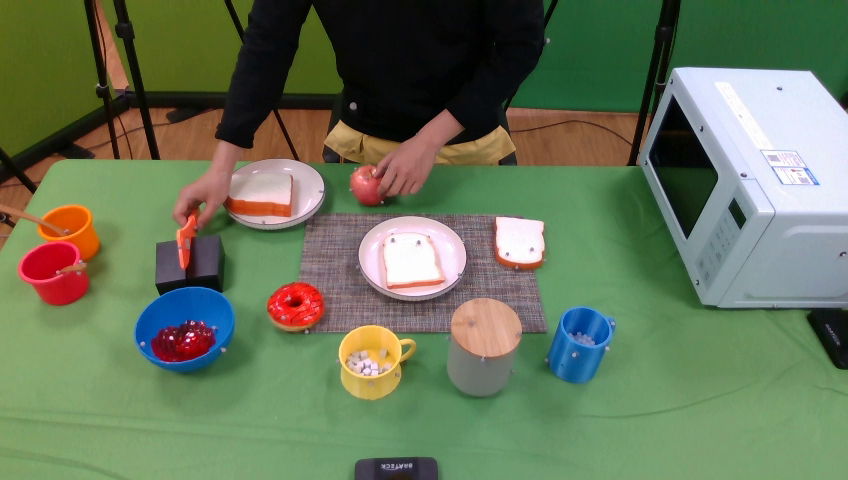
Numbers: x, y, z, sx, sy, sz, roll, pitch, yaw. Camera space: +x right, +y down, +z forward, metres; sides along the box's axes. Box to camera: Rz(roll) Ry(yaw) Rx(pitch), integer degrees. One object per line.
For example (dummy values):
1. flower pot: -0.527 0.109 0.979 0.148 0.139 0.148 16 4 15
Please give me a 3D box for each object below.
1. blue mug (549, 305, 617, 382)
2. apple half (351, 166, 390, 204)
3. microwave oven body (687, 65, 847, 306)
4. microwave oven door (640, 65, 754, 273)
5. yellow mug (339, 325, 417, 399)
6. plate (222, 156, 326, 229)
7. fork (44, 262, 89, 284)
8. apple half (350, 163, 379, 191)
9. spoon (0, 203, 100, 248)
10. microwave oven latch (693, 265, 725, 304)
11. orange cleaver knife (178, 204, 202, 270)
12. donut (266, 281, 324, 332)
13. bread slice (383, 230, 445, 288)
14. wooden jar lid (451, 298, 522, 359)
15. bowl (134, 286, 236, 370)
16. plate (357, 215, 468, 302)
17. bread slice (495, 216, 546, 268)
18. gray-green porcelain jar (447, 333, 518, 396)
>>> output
1. blue mug: 0.269 0.165 0.998 0.116 0.106 0.082 -19 51 -21
2. apple half: -0.104 -0.108 1.254 0.081 0.075 0.053 -20 57 -31
3. microwave oven body: 0.669 -0.111 1.176 0.326 0.261 0.439 0 46 -3
4. microwave oven door: 0.522 -0.147 1.193 0.039 0.245 0.353 0 47 -3
5. yellow mug: -0.072 0.190 0.978 0.131 0.064 0.099 -17 50 -20
6. plate: -0.307 -0.095 1.251 0.209 0.038 0.208 2 47 -2
7. fork: -0.598 0.054 1.014 0.207 0.019 0.028 -15 29 45
8. apple half: -0.128 -0.133 1.271 0.081 0.081 0.032 -25 60 -25
9. spoon: -0.683 -0.031 1.088 0.195 0.021 0.041 33 33 -38
10. microwave oven latch: 0.522 0.081 1.115 0.030 0.029 0.078 2 46 -1
11. orange cleaver knife: -0.431 -0.010 1.124 0.012 0.077 0.210 -5 22 -9
12. donut: -0.222 0.115 1.049 0.099 0.048 0.098 2 46 -2
13. bread slice: -0.028 0.035 1.144 0.107 0.018 0.133 -7 48 -12
14. wooden jar lid: 0.093 0.135 0.914 0.108 0.021 0.107 2 48 -3
15. bowl: -0.377 0.156 0.981 0.151 0.077 0.150 2 46 -2
16. plate: -0.022 0.037 1.141 0.208 0.039 0.206 2 46 -2
17. bread slice: 0.194 0.002 1.205 0.105 0.019 0.131 5 45 2
18. gray-green porcelain jar: 0.091 0.178 0.960 0.106 0.127 0.105 2 46 -2
